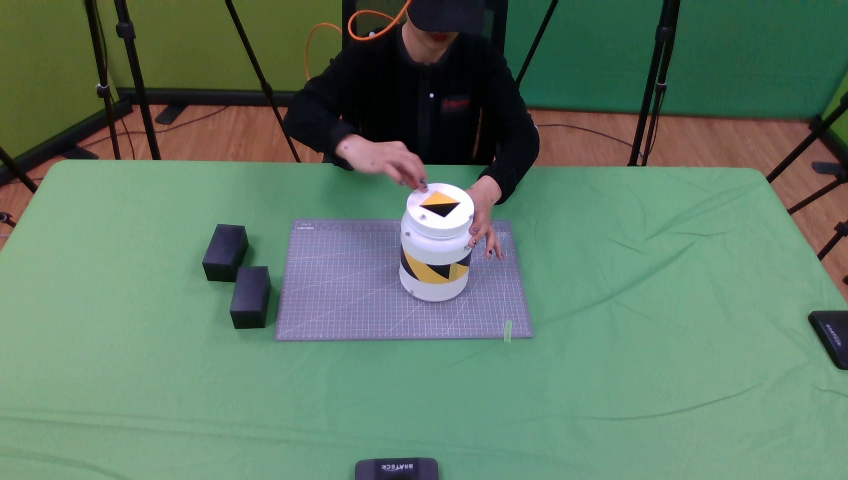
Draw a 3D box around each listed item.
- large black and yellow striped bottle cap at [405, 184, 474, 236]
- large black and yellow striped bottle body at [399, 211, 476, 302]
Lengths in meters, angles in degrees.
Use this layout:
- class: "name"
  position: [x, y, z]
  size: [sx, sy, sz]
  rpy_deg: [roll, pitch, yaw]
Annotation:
- class: "large black and yellow striped bottle cap"
  position: [0.026, -0.052, 1.014]
  size: [0.115, 0.019, 0.114]
  rpy_deg: [3, 44, -3]
- class: "large black and yellow striped bottle body"
  position: [0.022, 0.006, 1.076]
  size: [0.131, 0.185, 0.130]
  rpy_deg: [2, 46, -2]
